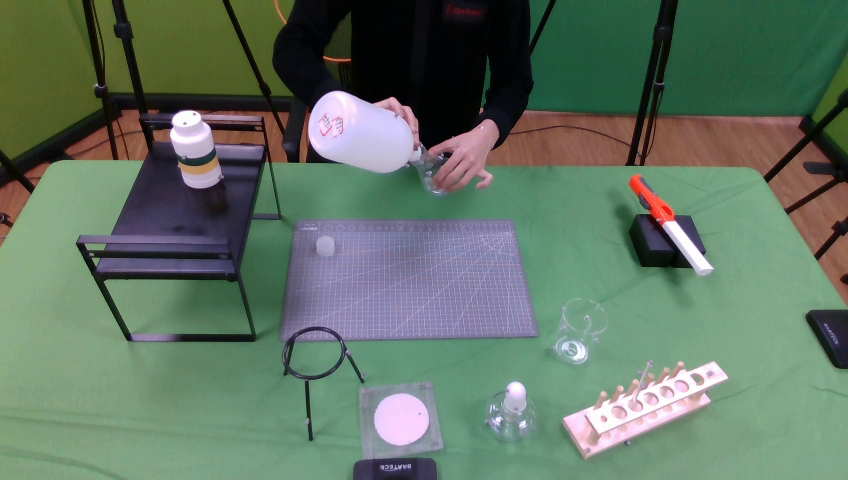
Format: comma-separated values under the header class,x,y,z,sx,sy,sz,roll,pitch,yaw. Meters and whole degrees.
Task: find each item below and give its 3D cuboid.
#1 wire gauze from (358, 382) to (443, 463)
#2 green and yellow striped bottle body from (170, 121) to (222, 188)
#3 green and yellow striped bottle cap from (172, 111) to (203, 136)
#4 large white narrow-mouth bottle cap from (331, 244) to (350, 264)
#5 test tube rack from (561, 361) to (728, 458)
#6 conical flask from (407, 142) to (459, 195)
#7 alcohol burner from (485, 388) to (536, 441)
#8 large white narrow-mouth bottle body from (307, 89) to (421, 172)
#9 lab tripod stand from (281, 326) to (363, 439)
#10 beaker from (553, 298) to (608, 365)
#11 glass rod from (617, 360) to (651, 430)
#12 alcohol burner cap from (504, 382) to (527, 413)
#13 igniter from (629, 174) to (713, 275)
class,x,y,z,sx,sy,sz,roll,pitch,yaw
wire gauze,-0.039,0.276,0.937,0.121,0.011,0.124,-4,47,-7
green and yellow striped bottle body,-0.375,-0.149,0.995,0.063,0.120,0.063,2,46,-2
green and yellow striped bottle cap,-0.374,-0.185,0.957,0.045,0.020,0.045,3,45,-3
large white narrow-mouth bottle cap,-0.160,0.026,1.161,0.038,0.024,0.037,4,46,-4
test tube rack,0.341,0.248,0.940,0.243,0.085,0.066,-15,49,-18
conical flask,0.009,-0.132,1.071,0.075,0.122,0.075,-7,73,23
alcohol burner,0.131,0.249,0.904,0.078,0.120,0.077,1,48,-1
large white narrow-mouth bottle body,-0.079,-0.159,0.946,0.195,0.102,0.101,13,31,-47
lab tripod stand,-0.166,0.203,0.913,0.148,0.132,0.147,1,47,-1
beaker,0.260,0.154,1.014,0.073,0.101,0.084,37,54,27
glass rod,0.298,0.226,0.865,0.008,0.201,0.008,-1,48,2
alcohol burner cap,0.133,0.225,0.877,0.034,0.048,0.033,-4,47,4
igniter,0.481,-0.040,1.202,0.057,0.025,0.274,-2,46,-21
